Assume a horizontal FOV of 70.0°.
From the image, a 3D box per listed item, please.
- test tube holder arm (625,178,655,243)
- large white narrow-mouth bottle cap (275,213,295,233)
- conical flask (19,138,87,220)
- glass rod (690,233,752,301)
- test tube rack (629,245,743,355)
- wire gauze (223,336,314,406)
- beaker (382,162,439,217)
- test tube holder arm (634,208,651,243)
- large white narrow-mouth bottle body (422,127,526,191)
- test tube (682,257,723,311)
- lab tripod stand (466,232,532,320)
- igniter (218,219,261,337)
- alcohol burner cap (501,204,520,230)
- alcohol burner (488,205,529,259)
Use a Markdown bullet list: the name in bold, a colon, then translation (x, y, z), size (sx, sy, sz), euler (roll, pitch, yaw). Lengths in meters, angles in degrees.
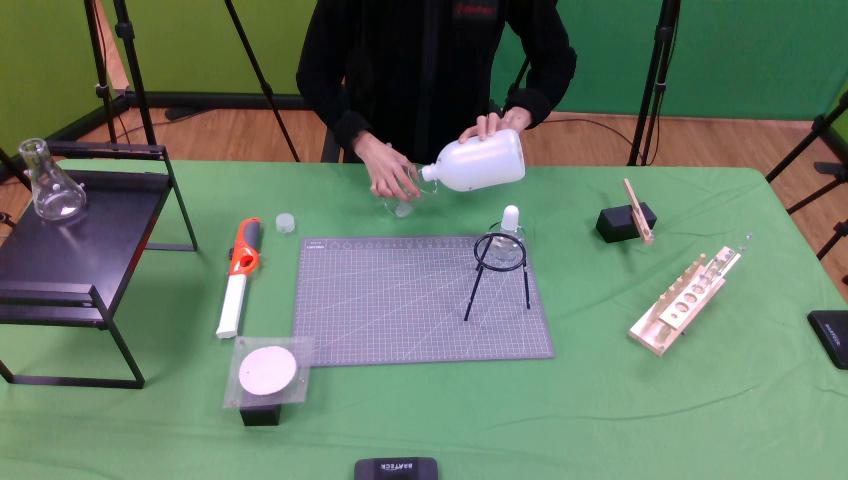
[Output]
- **test tube holder arm**: translation (0.433, -0.062, 1.220), size (0.013, 0.015, 0.177), euler (0, 47, -3)
- **large white narrow-mouth bottle cap**: translation (-0.277, -0.034, 1.213), size (0.038, 0.024, 0.037), euler (3, 46, -3)
- **conical flask**: translation (-0.576, -0.097, 0.930), size (0.075, 0.122, 0.075), euler (2, 46, -2)
- **glass rod**: translation (0.507, 0.053, 1.041), size (0.008, 0.200, 0.008), euler (5, 51, -6)
- **test tube rack**: translation (0.474, 0.095, 1.091), size (0.242, 0.085, 0.066), euler (-34, 56, -31)
- **wire gauze**: translation (-0.237, 0.197, 0.931), size (0.121, 0.011, 0.124), euler (1, 45, -4)
- **beaker**: translation (-0.029, -0.097, 1.224), size (0.084, 0.100, 0.073), euler (37, 40, -18)
- **test tube holder arm**: translation (0.428, -0.030, 1.189), size (0.010, 0.015, 0.087), euler (1, 47, -2)
- **large white narrow-mouth bottle body**: translation (0.091, -0.147, 1.157), size (0.194, 0.102, 0.101), euler (-11, 43, 17)
- **test tube**: translation (0.475, 0.080, 1.037), size (0.017, 0.151, 0.017), euler (1, 51, -1)
- **lab tripod stand**: translation (0.124, 0.059, 1.065), size (0.148, 0.132, 0.147), euler (1, 45, 0)
- **igniter**: translation (-0.336, 0.059, 1.111), size (0.057, 0.025, 0.274), euler (-8, 46, 3)
- **alcohol burner cap**: translation (0.164, -0.046, 1.133), size (0.034, 0.048, 0.033), euler (2, 40, -2)
- **alcohol burner**: translation (0.163, -0.020, 1.158), size (0.078, 0.120, 0.077), euler (0, 47, 0)
